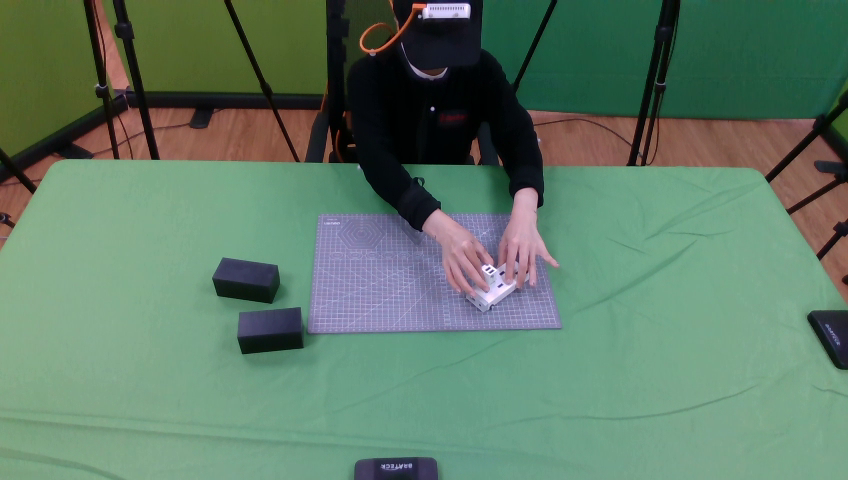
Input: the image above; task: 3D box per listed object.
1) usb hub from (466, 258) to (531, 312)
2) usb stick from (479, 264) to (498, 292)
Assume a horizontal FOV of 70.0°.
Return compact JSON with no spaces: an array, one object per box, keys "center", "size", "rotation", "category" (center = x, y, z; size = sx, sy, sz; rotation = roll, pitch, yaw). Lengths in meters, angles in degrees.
[{"center":[0.139,0.083,1.120],"size":[0.125,0.025,0.049],"rotation":[-32,57,-29],"category":"usb hub"},{"center":[0.114,0.073,1.084],"size":[0.021,0.059,0.027],"rotation":[-32,54,-32],"category":"usb stick"}]
